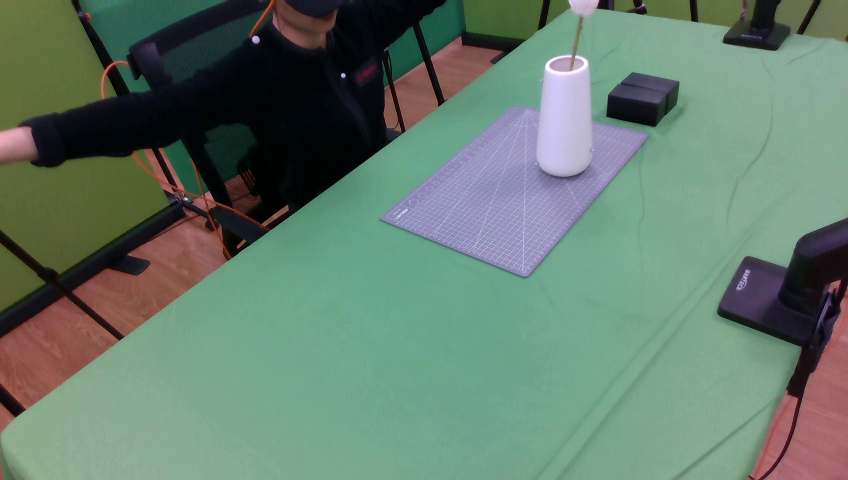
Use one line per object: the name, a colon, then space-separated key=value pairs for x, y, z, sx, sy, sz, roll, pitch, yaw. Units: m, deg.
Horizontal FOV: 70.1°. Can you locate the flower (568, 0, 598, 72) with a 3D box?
flower: x=0.232 y=-0.260 z=0.974 sx=0.044 sy=0.363 sz=0.038 roll=-23 pitch=59 yaw=-11

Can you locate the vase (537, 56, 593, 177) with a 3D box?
vase: x=0.245 y=-0.209 z=1.040 sx=0.098 sy=0.201 sz=0.097 roll=-4 pitch=40 yaw=4
